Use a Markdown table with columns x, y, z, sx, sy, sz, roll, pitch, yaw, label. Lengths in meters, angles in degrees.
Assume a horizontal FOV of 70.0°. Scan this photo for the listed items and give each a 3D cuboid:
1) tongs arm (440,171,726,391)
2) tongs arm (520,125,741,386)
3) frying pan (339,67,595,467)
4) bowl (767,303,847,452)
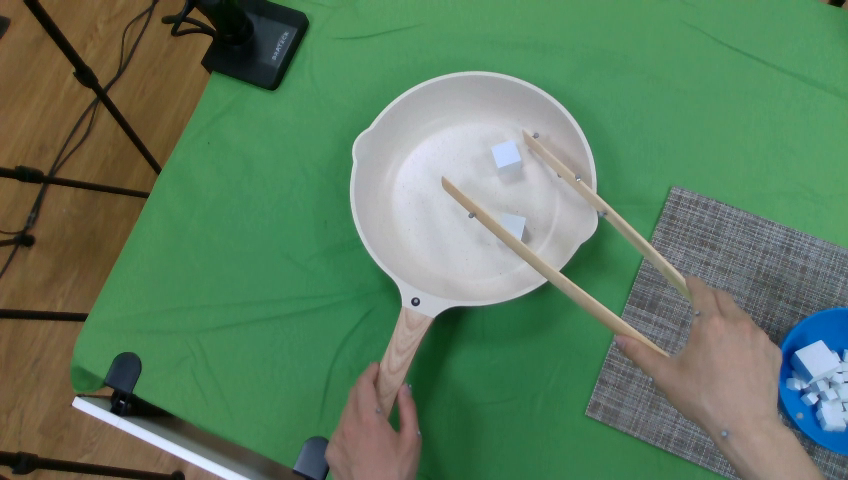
| x | y | z | sx | sy | sz | roll | pitch | yaw | label |
| --- | --- | --- | --- | --- | --- | --- | --- | --- | --- |
| 0.133 | 0.025 | 0.627 | 0.028 | 0.028 | 0.383 | -33 | 49 | -18 | tongs arm |
| 0.190 | -0.009 | 0.638 | 0.051 | 0.027 | 0.380 | -28 | 49 | -9 | tongs arm |
| 0.013 | 0.025 | 0.710 | 0.306 | 0.103 | 0.486 | 22 | 72 | 11 | frying pan |
| 0.436 | 0.147 | 0.649 | 0.151 | 0.077 | 0.150 | -1 | 77 | 6 | bowl |
